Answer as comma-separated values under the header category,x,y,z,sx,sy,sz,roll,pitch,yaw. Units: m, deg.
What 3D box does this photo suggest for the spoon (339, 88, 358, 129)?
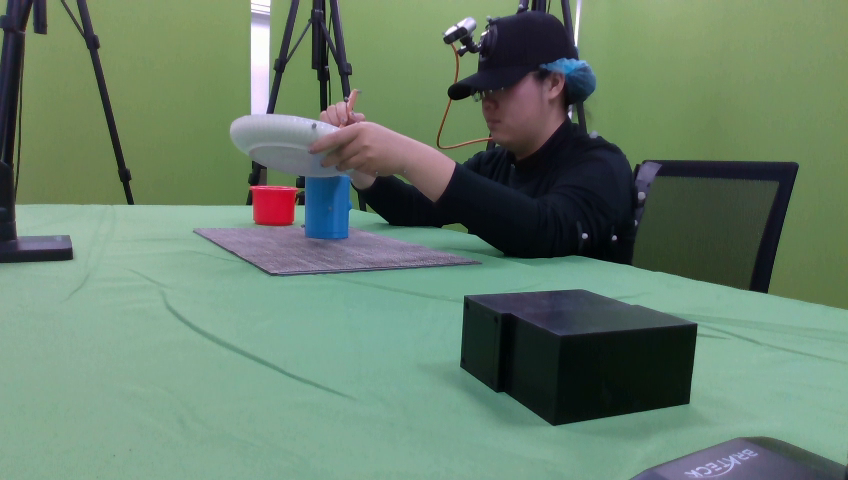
category,x,y,z,sx,sy,sz,roll,pitch,yaw
spoon,-0.149,-0.204,1.076,0.041,0.022,0.193,-2,49,21

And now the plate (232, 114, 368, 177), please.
category,x,y,z,sx,sy,sz,roll,pitch,yaw
plate,-0.193,-0.136,0.939,0.208,0.039,0.208,6,-11,1

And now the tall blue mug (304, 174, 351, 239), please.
category,x,y,z,sx,sy,sz,roll,pitch,yaw
tall blue mug,-0.178,-0.062,1.062,0.078,0.108,0.106,-5,10,-38
